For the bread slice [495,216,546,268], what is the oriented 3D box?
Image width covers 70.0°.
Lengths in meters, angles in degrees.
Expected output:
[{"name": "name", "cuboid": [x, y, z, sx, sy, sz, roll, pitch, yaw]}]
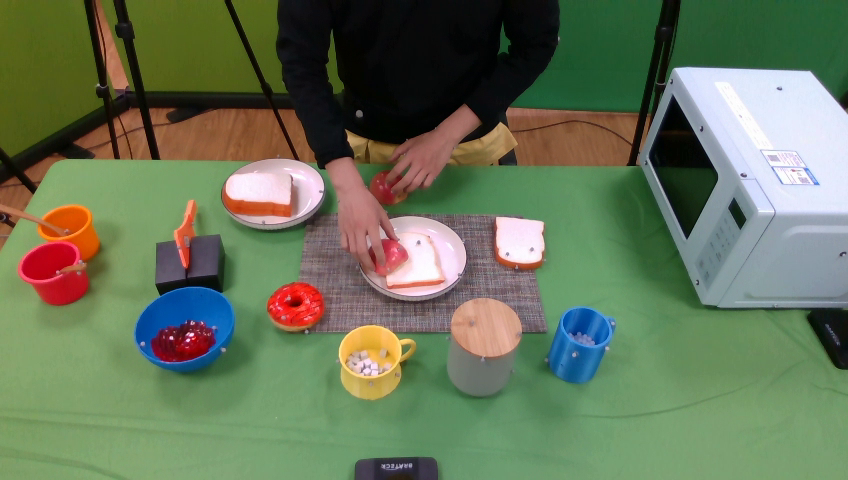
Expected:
[{"name": "bread slice", "cuboid": [0.194, 0.002, 1.205, 0.105, 0.019, 0.131, 5, 45, 2]}]

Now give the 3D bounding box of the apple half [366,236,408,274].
[{"name": "apple half", "cuboid": [-0.072, 0.019, 1.111, 0.081, 0.033, 0.081, -1, 56, 1]}]

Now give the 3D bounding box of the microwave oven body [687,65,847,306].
[{"name": "microwave oven body", "cuboid": [0.669, -0.111, 1.176, 0.326, 0.261, 0.439, 0, 46, -3]}]

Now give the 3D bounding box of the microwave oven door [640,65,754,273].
[{"name": "microwave oven door", "cuboid": [0.523, -0.147, 1.193, 0.039, 0.245, 0.353, 0, 47, -3]}]

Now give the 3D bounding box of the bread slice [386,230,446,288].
[{"name": "bread slice", "cuboid": [-0.027, 0.034, 1.144, 0.107, 0.018, 0.133, -7, 47, -12]}]

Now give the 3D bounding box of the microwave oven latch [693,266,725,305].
[{"name": "microwave oven latch", "cuboid": [0.523, 0.082, 1.115, 0.030, 0.029, 0.078, 3, 46, 0]}]

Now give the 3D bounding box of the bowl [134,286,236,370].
[{"name": "bowl", "cuboid": [-0.377, 0.155, 0.981, 0.151, 0.077, 0.150, 2, 46, -2]}]

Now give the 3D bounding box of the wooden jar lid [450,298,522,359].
[{"name": "wooden jar lid", "cuboid": [0.093, 0.135, 0.914, 0.108, 0.021, 0.107, 2, 48, -3]}]

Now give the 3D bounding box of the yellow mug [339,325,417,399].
[{"name": "yellow mug", "cuboid": [-0.072, 0.190, 0.978, 0.131, 0.064, 0.099, -17, 50, -20]}]

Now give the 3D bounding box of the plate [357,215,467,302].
[{"name": "plate", "cuboid": [-0.022, 0.037, 1.142, 0.208, 0.039, 0.206, 2, 47, -2]}]

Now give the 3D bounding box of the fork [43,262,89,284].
[{"name": "fork", "cuboid": [-0.599, 0.053, 1.013, 0.207, 0.019, 0.028, -14, 30, 45]}]

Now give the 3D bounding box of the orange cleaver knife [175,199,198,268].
[{"name": "orange cleaver knife", "cuboid": [-0.438, -0.017, 1.138, 0.012, 0.077, 0.210, -13, 27, -7]}]

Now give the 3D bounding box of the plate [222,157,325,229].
[{"name": "plate", "cuboid": [-0.308, -0.094, 1.251, 0.209, 0.038, 0.208, 2, 46, -2]}]

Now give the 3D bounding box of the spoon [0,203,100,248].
[{"name": "spoon", "cuboid": [-0.683, -0.031, 1.088, 0.195, 0.021, 0.041, 33, 33, -38]}]

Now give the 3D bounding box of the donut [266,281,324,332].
[{"name": "donut", "cuboid": [-0.222, 0.115, 1.049, 0.099, 0.048, 0.098, 2, 46, -2]}]

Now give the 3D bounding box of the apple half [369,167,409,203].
[{"name": "apple half", "cuboid": [-0.073, -0.122, 1.283, 0.081, 0.053, 0.074, -27, 56, -26]}]

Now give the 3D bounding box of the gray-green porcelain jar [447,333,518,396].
[{"name": "gray-green porcelain jar", "cuboid": [0.091, 0.178, 0.960, 0.106, 0.127, 0.105, 2, 46, -2]}]

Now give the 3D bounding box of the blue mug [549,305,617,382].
[{"name": "blue mug", "cuboid": [0.269, 0.166, 0.998, 0.116, 0.106, 0.082, -19, 51, -21]}]
